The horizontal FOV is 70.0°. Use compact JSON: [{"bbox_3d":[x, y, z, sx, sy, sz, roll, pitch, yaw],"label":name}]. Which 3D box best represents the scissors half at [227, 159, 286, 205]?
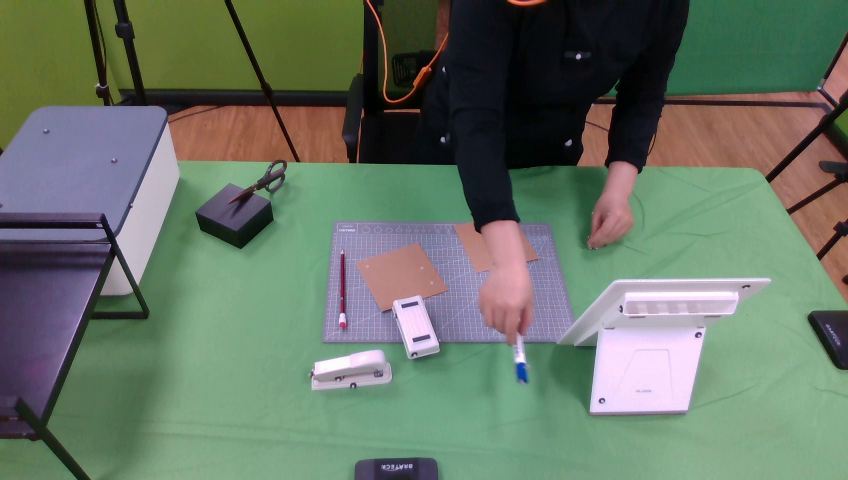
[{"bbox_3d":[-0.336,-0.117,1.218,0.013,0.040,0.175,29,47,11],"label":"scissors half"}]

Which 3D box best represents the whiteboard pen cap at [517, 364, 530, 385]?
[{"bbox_3d":[0.152,0.204,0.928,0.018,0.018,0.033,2,38,-2],"label":"whiteboard pen cap"}]

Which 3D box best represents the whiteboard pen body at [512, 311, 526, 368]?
[{"bbox_3d":[0.153,0.168,0.973,0.017,0.017,0.140,4,38,0],"label":"whiteboard pen body"}]

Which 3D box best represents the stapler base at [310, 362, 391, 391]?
[{"bbox_3d":[-0.119,0.215,0.981,0.131,0.024,0.041,-5,44,-7],"label":"stapler base"}]

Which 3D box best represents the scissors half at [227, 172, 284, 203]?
[{"bbox_3d":[-0.340,-0.102,1.230,0.013,0.040,0.175,25,29,15],"label":"scissors half"}]

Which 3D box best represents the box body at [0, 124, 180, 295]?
[{"bbox_3d":[-0.628,-0.075,1.122,0.254,0.161,0.361,1,46,-4],"label":"box body"}]

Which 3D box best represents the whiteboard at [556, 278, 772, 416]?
[{"bbox_3d":[0.347,0.174,0.903,0.217,0.306,0.143,1,65,-4],"label":"whiteboard"}]

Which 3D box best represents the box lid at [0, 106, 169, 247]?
[{"bbox_3d":[-0.624,-0.125,1.067,0.263,0.015,0.369,0,46,-3],"label":"box lid"}]

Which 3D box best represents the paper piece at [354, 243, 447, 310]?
[{"bbox_3d":[-0.045,0.066,1.137,0.136,0.009,0.137,-13,47,-23],"label":"paper piece"}]

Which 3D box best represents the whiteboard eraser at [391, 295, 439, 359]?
[{"bbox_3d":[-0.016,0.150,1.034,0.056,0.042,0.112,-10,48,-15],"label":"whiteboard eraser"}]

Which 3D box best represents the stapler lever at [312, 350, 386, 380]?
[{"bbox_3d":[-0.120,0.198,0.963,0.118,0.040,0.026,-4,44,-8],"label":"stapler lever"}]

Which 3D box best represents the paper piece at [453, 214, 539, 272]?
[{"bbox_3d":[0.142,0.003,1.213,0.135,0.004,0.135,-11,47,-14],"label":"paper piece"}]

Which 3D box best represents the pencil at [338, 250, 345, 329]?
[{"bbox_3d":[-0.152,0.085,1.108,0.012,0.012,0.192,-2,44,-7],"label":"pencil"}]
